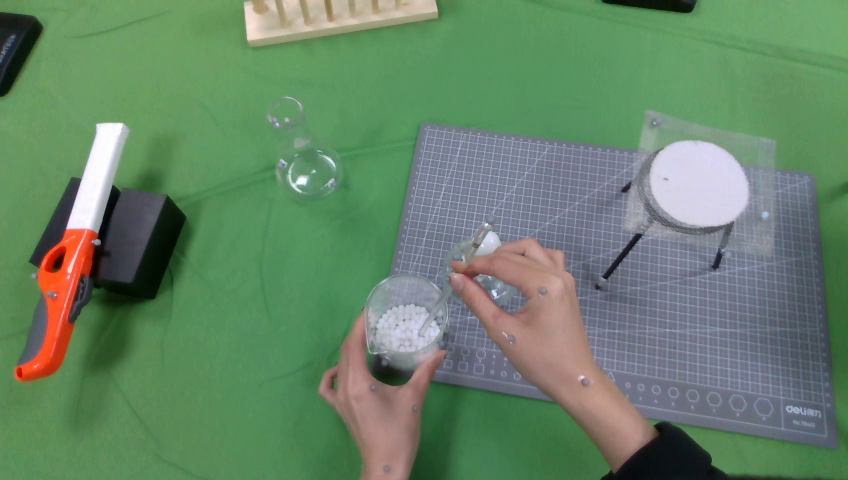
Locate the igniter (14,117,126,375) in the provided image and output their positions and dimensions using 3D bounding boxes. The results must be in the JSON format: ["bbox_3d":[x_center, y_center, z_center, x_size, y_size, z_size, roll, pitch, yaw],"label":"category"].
[{"bbox_3d":[-0.347,-0.003,0.602,0.057,0.025,0.274,0,66,6],"label":"igniter"}]

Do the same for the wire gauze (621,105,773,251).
[{"bbox_3d":[0.243,-0.056,0.530,0.121,0.011,0.124,14,69,5],"label":"wire gauze"}]

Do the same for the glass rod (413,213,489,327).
[{"bbox_3d":[0.016,0.031,0.471,0.008,0.200,0.008,7,61,-12],"label":"glass rod"}]

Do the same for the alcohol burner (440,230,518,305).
[{"bbox_3d":[0.054,0.020,0.586,0.078,0.120,0.077,0,66,0],"label":"alcohol burner"}]

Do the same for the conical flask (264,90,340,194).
[{"bbox_3d":[-0.135,-0.107,0.641,0.075,0.123,0.075,0,67,1],"label":"conical flask"}]

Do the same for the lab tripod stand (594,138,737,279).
[{"bbox_3d":[0.236,-0.027,0.591,0.148,0.132,0.147,0,66,0],"label":"lab tripod stand"}]

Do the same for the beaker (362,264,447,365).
[{"bbox_3d":[-0.020,0.078,0.570,0.073,0.101,0.084,41,74,14],"label":"beaker"}]

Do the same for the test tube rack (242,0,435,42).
[{"bbox_3d":[-0.110,-0.318,0.748,0.242,0.086,0.066,-10,68,-3],"label":"test tube rack"}]

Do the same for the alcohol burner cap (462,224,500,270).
[{"bbox_3d":[0.054,0.004,0.553,0.034,0.048,0.033,2,61,-3],"label":"alcohol burner cap"}]
